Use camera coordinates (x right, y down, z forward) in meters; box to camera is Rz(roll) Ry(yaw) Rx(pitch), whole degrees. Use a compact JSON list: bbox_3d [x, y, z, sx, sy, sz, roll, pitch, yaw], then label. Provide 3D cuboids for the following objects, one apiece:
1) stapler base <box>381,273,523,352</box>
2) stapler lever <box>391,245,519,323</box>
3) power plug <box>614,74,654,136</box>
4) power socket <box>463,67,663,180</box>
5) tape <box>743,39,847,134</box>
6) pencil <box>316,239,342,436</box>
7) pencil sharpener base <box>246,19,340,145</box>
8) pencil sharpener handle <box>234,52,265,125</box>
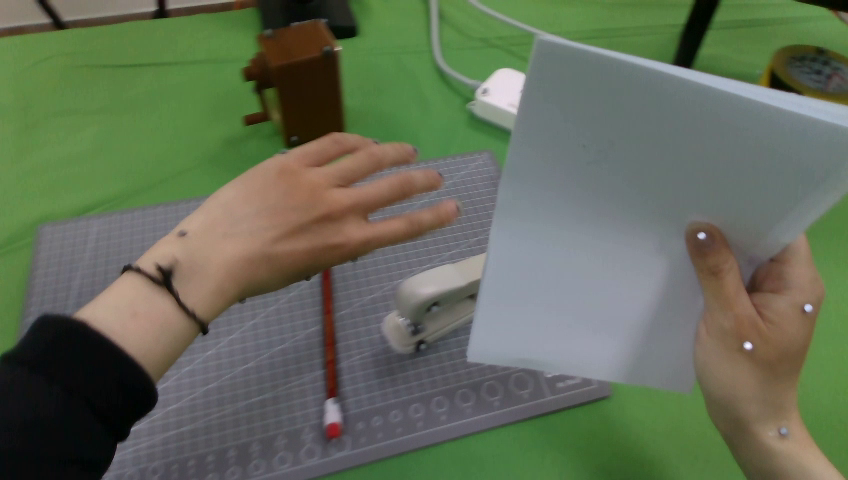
[{"bbox_3d":[0.025,0.049,0.517,0.131,0.024,0.041,-25,57,-23],"label":"stapler base"},{"bbox_3d":[0.027,0.031,0.498,0.118,0.040,0.026,-25,57,-23],"label":"stapler lever"},{"bbox_3d":[0.232,-0.135,0.645,0.035,0.053,0.072,36,58,24],"label":"power plug"},{"bbox_3d":[0.153,-0.133,0.670,0.225,0.033,0.072,26,54,19],"label":"power socket"},{"bbox_3d":[0.444,-0.181,0.710,0.117,0.053,0.115,1,51,-1],"label":"tape"},{"bbox_3d":[-0.081,0.070,0.504,0.012,0.012,0.192,-7,49,-8],"label":"pencil"},{"bbox_3d":[-0.137,-0.162,0.632,0.077,0.108,0.060,-21,55,-18],"label":"pencil sharpener base"},{"bbox_3d":[-0.179,-0.149,0.602,0.031,0.068,0.035,-21,32,-18],"label":"pencil sharpener handle"}]
